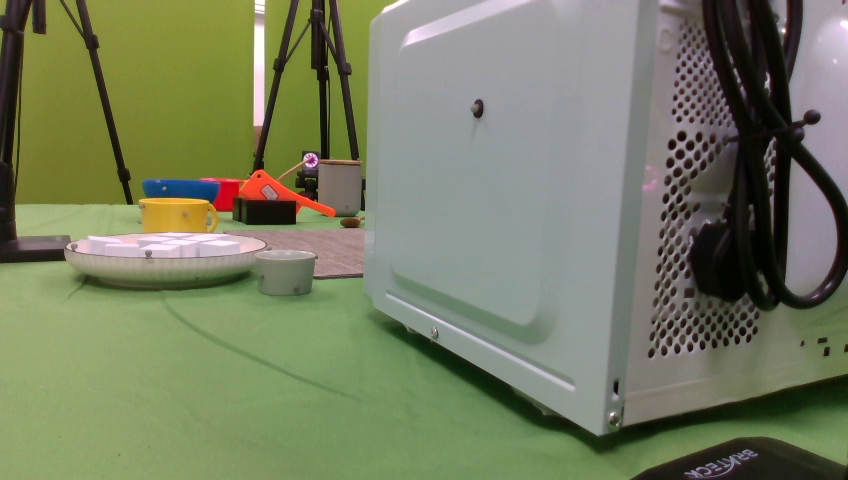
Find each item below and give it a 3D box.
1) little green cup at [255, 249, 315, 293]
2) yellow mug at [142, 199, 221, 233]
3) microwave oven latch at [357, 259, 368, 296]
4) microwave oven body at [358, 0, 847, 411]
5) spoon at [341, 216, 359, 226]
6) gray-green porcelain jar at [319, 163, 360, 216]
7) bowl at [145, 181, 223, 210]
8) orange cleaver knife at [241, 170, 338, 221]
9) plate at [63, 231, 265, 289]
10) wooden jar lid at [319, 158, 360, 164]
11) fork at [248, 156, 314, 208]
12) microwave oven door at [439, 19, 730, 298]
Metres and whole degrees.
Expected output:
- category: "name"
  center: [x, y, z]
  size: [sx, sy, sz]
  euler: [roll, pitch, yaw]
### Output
- category: "little green cup"
  center: [-0.144, 0.032, 0.626]
  size: [0.061, 0.038, 0.061]
  euler: [2, 6, 0]
- category: "yellow mug"
  center: [-0.372, -0.030, 0.947]
  size: [0.099, 0.064, 0.131]
  euler: [5, 7, 30]
- category: "microwave oven latch"
  center: [-0.019, 0.031, 0.528]
  size: [0.079, 0.029, 0.030]
  euler: [-1, 7, -25]
- category: "microwave oven body"
  center: [0.210, -0.051, 0.471]
  size: [0.444, 0.260, 0.324]
  euler: [-1, 7, -28]
- category: "spoon"
  center: [-0.132, -0.047, 1.305]
  size: [0.041, 0.021, 0.194]
  euler: [-14, 4, 14]
- category: "gray-green porcelain jar"
  center: [-0.204, -0.126, 1.490]
  size: [0.106, 0.126, 0.106]
  euler: [2, 8, 0]
- category: "bowl"
  center: [-0.499, -0.081, 1.261]
  size: [0.151, 0.077, 0.151]
  euler: [2, 8, 0]
- category: "orange cleaver knife"
  center: [-0.286, -0.081, 1.298]
  size: [0.212, 0.077, 0.012]
  euler: [25, -2, -31]
- category: "plate"
  center: [-0.288, 0.021, 0.687]
  size: [0.208, 0.039, 0.207]
  euler: [2, 8, 0]
- category: "wooden jar lid"
  center: [-0.202, -0.189, 1.481]
  size: [0.108, 0.020, 0.108]
  euler: [2, 10, 0]
- category: "fork"
  center: [-0.360, -0.147, 1.523]
  size: [0.207, 0.019, 0.028]
  euler: [-43, 16, -7]
- category: "microwave oven door"
  center: [0.181, -0.076, 0.617]
  size: [0.358, 0.243, 0.039]
  euler: [-2, 8, -28]
